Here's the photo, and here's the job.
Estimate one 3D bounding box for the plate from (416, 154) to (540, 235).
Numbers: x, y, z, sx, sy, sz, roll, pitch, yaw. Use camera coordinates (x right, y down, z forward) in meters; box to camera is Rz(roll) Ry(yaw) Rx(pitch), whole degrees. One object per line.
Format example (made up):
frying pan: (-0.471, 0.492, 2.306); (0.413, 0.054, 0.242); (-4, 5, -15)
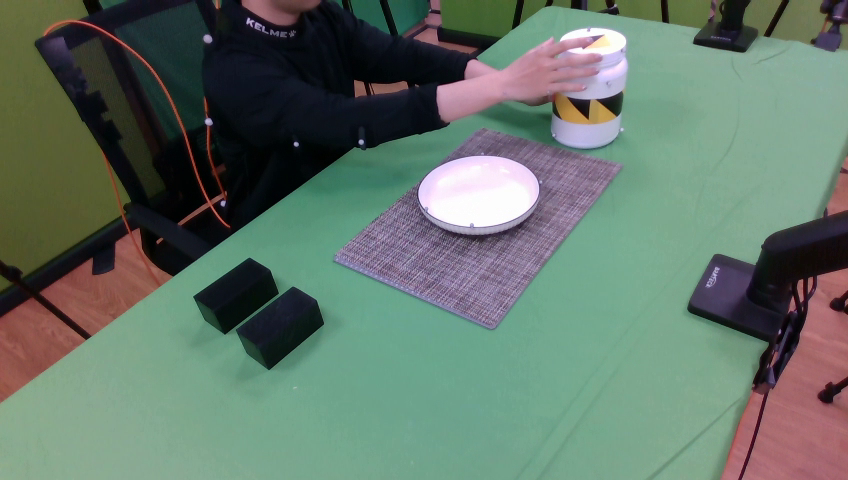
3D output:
plate: (0.090, -0.074, 1.025); (0.207, 0.039, 0.206); (-4, 41, 4)

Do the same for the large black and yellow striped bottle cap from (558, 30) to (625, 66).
large black and yellow striped bottle cap: (0.297, -0.341, 1.070); (0.115, 0.019, 0.114); (-3, 42, 3)

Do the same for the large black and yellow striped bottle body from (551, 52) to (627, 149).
large black and yellow striped bottle body: (0.305, -0.278, 1.125); (0.131, 0.185, 0.130); (-4, 41, 4)
